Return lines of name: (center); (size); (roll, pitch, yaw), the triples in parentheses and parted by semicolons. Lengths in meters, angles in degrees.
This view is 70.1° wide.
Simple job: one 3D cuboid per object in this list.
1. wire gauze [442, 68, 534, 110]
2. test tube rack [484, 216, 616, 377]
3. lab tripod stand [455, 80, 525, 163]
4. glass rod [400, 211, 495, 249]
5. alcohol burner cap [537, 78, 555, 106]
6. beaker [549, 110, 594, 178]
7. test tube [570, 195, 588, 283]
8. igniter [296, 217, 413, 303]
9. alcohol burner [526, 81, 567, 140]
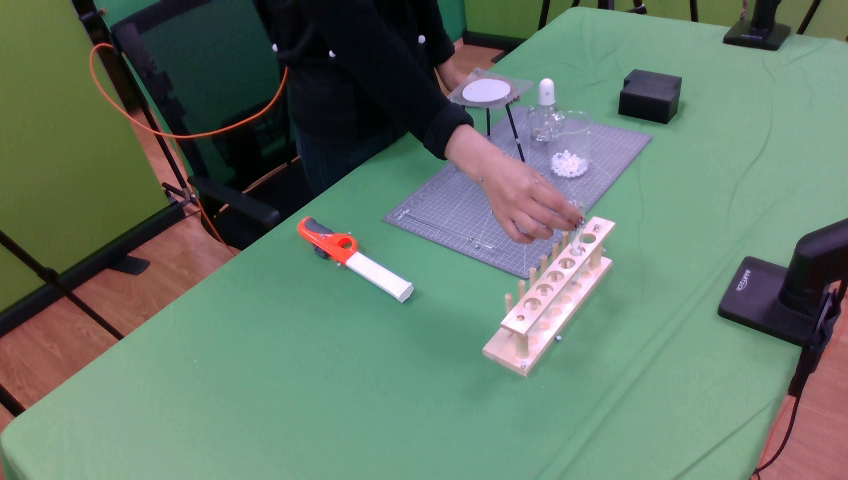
wire gauze: (0.115, -0.269, 1.081); (0.120, 0.011, 0.125); (21, 48, 29)
test tube rack: (0.175, 0.065, 0.823); (0.066, 0.085, 0.243); (23, 49, 32)
lab tripod stand: (0.120, -0.219, 1.126); (0.148, 0.132, 0.147); (-4, 40, 4)
glass rod: (0.035, -0.018, 1.001); (0.198, 0.008, 0.008); (21, 49, 35)
alcohol burner cap: (0.229, -0.279, 1.136); (0.034, 0.048, 0.033); (-6, 33, 4)
beaker: (0.256, -0.165, 1.063); (0.084, 0.101, 0.073); (-36, 46, -27)
test tube: (0.205, 0.002, 0.802); (0.017, 0.151, 0.017); (-5, 42, 5)
igniter: (-0.121, 0.025, 0.970); (0.274, 0.025, 0.057); (29, 63, 37)
alcohol burner: (0.235, -0.252, 1.159); (0.078, 0.119, 0.077); (-4, 42, 4)
